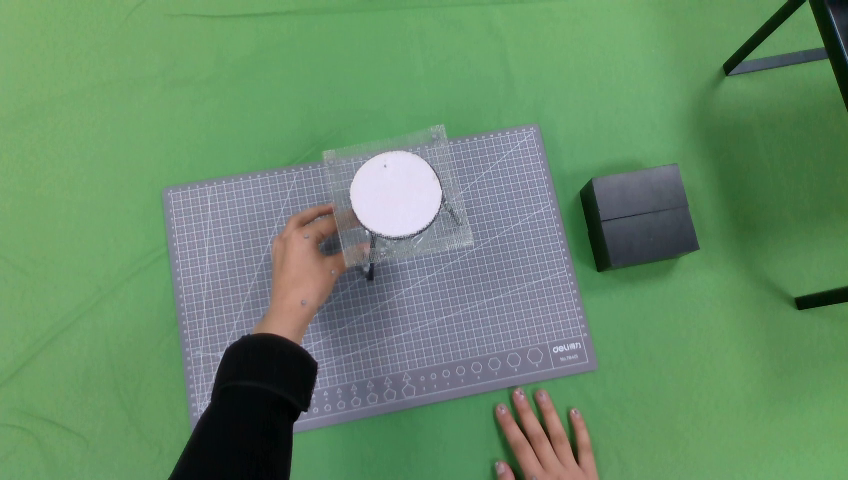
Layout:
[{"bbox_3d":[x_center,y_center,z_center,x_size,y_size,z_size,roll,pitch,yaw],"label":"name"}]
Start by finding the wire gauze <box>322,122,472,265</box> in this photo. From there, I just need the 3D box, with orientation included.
[{"bbox_3d":[-0.027,-0.044,0.572,0.125,0.011,0.121,-11,79,-3],"label":"wire gauze"}]

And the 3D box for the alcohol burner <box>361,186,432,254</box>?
[{"bbox_3d":[-0.030,-0.025,0.648,0.078,0.119,0.077,0,80,0],"label":"alcohol burner"}]

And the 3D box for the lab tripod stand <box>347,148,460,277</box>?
[{"bbox_3d":[-0.033,-0.035,0.640,0.148,0.132,0.148,0,79,0],"label":"lab tripod stand"}]
